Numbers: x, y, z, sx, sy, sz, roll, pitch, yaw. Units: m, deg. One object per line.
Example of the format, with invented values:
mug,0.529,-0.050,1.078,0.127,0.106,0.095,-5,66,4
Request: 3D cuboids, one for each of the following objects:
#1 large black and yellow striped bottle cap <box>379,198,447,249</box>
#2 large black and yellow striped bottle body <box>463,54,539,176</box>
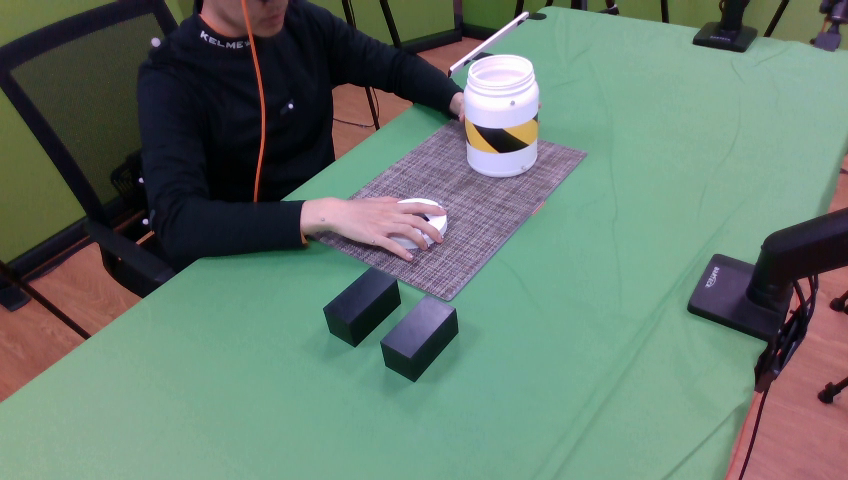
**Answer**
large black and yellow striped bottle cap,-0.019,-0.029,1.004,0.115,0.019,0.114,-4,40,4
large black and yellow striped bottle body,0.137,-0.221,1.074,0.131,0.185,0.130,-4,41,4
